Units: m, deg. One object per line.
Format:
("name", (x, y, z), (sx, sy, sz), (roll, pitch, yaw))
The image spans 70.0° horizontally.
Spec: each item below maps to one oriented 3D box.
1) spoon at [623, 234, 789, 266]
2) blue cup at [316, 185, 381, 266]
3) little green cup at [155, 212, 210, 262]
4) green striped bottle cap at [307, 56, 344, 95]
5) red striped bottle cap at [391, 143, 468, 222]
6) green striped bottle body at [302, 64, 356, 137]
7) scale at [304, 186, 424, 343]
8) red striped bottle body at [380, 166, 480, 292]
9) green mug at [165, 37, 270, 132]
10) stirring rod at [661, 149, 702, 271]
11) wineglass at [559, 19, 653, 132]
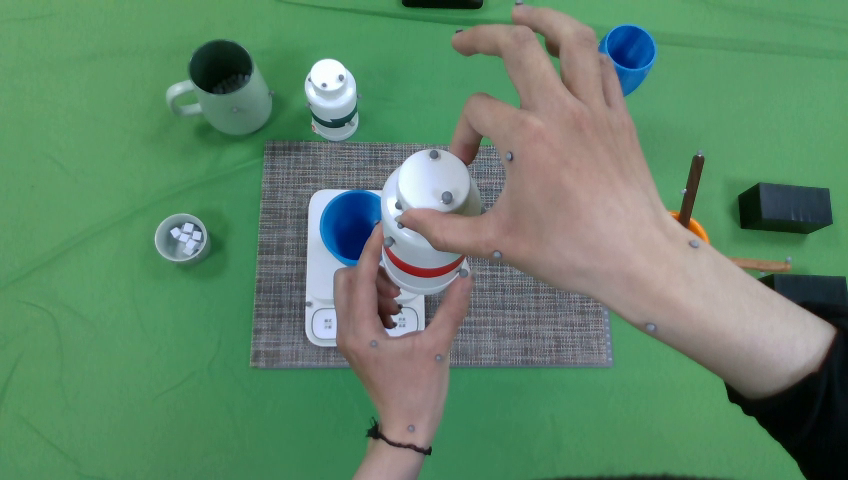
("spoon", (0.342, 0.018, 0.751), (0.022, 0.192, 0.041), (22, 79, -44))
("blue cup", (-0.078, -0.008, 0.712), (0.093, 0.100, 0.092), (1, 78, -4))
("little green cup", (-0.299, -0.002, 0.759), (0.061, 0.039, 0.061), (2, 75, -5))
("green striped bottle cap", (-0.118, -0.198, 0.728), (0.044, 0.020, 0.044), (1, 74, -5))
("red striped bottle cap", (0.003, -0.034, 0.352), (0.044, 0.018, 0.044), (2, 68, -6))
("green striped bottle body", (-0.121, -0.184, 0.779), (0.063, 0.119, 0.063), (1, 75, -4))
("scale", (-0.076, 0.028, 0.770), (0.149, 0.031, 0.200), (0, 76, -4))
("red striped bottle body", (0.002, -0.013, 0.402), (0.063, 0.120, 0.062), (1, 67, -3))
("green mug", (-0.266, -0.191, 0.776), (0.125, 0.105, 0.092), (-21, 78, -9))
("stirring rod", (0.323, -0.033, 0.762), (0.014, 0.177, 0.006), (5, 34, 10))
("wineglass", (0.230, -0.207, 0.786), (0.074, 0.173, 0.073), (1, 75, -4))
